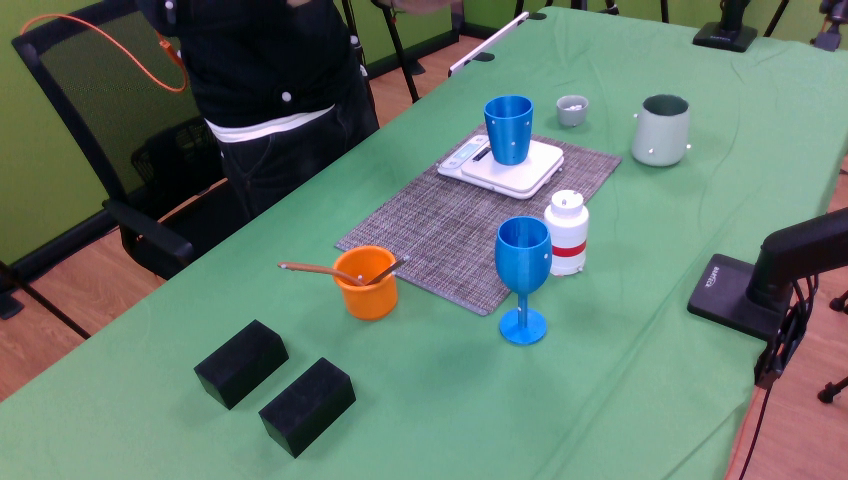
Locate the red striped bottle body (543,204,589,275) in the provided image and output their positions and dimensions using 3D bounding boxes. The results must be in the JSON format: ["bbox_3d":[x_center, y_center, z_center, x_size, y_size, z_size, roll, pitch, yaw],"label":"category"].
[{"bbox_3d":[0.206,-0.011,0.878,0.063,0.120,0.062,-5,41,4],"label":"red striped bottle body"}]

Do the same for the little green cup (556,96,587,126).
[{"bbox_3d":[0.295,-0.258,1.214,0.061,0.039,0.061,-4,42,4],"label":"little green cup"}]

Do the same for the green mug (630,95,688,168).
[{"bbox_3d":[0.421,-0.201,1.081,0.092,0.105,0.125,5,42,15],"label":"green mug"}]

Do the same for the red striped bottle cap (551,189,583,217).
[{"bbox_3d":[0.200,-0.052,0.843,0.044,0.018,0.044,-2,42,2],"label":"red striped bottle cap"}]

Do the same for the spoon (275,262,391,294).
[{"bbox_3d":[-0.120,0.050,0.830,0.041,0.195,0.021,32,97,45],"label":"spoon"}]

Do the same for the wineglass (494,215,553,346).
[{"bbox_3d":[0.127,0.055,0.770,0.074,0.173,0.073,-4,40,4],"label":"wineglass"}]

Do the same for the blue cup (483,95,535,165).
[{"bbox_3d":[0.148,-0.188,1.053,0.092,0.100,0.092,-6,39,5],"label":"blue cup"}]

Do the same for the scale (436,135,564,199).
[{"bbox_3d":[0.137,-0.142,1.101,0.199,0.032,0.149,22,48,30],"label":"scale"}]

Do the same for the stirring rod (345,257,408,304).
[{"bbox_3d":[-0.067,0.057,0.814,0.014,0.175,0.006,-24,82,-38],"label":"stirring rod"}]
